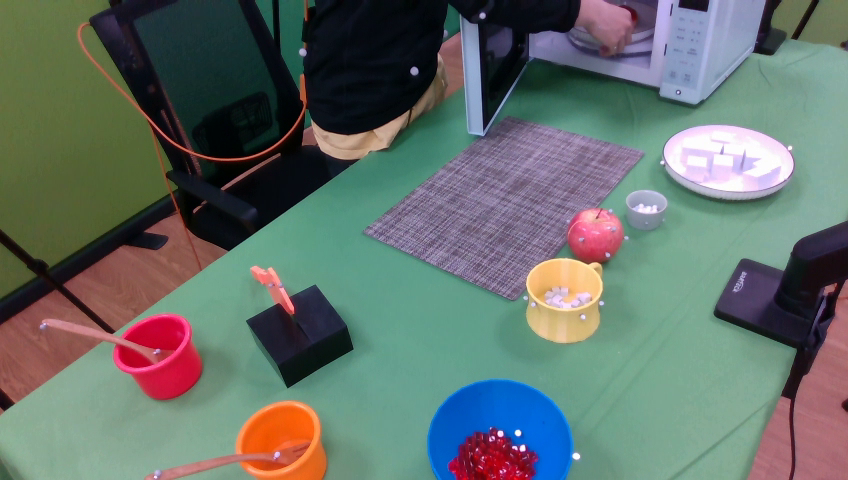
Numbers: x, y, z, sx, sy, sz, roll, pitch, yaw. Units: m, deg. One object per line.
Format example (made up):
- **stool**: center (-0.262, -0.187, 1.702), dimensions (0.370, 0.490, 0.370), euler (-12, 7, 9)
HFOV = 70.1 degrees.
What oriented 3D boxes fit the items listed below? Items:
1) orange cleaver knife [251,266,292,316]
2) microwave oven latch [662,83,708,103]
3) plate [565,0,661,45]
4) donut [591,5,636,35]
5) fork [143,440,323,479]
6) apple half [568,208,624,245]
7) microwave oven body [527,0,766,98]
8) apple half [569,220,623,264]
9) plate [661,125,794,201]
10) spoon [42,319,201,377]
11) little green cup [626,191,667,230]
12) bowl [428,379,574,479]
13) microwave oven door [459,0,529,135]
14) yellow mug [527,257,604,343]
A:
- **orange cleaver knife**: center (-0.221, 0.071, 0.873), dimensions (0.012, 0.077, 0.210), euler (-25, 11, -21)
- **microwave oven latch**: center (0.518, -0.296, 1.204), dimensions (0.078, 0.029, 0.030), euler (28, 52, 35)
- **plate**: center (0.426, -0.492, 1.373), dimensions (0.209, 0.038, 0.208), euler (-6, 40, 6)
- **donut**: center (0.427, -0.497, 1.364), dimensions (0.099, 0.048, 0.098), euler (-6, 40, 6)
- **fork**: center (-0.190, 0.231, 0.631), dimensions (0.028, 0.018, 0.209), euler (38, 14, 37)
- **apple half**: center (0.259, -0.014, 0.914), dimensions (0.080, 0.075, 0.053), euler (0, 36, 15)
- **microwave oven body**: center (0.472, -0.513, 1.317), dimensions (0.438, 0.261, 0.327), euler (25, 51, 34)
- **apple half**: center (0.251, 0.010, 0.884), dimensions (0.081, 0.081, 0.032), euler (3, 37, 12)
- **plate**: center (0.513, -0.128, 1.035), dimensions (0.207, 0.039, 0.206), euler (-4, 40, 4)
- **spoon**: center (-0.385, 0.135, 0.779), dimensions (0.195, 0.021, 0.041), euler (28, 36, -26)
- **little green cup**: center (0.352, -0.046, 0.963), dimensions (0.061, 0.039, 0.061), euler (-4, 40, 4)
- **bowl**: center (0.082, 0.233, 0.644), dimensions (0.151, 0.077, 0.150), euler (-4, 39, 4)
- **microwave oven door**: center (0.153, -0.410, 1.237), dimensions (0.039, 0.245, 0.356), euler (11, 44, 20)
- **yellow mug**: center (0.201, 0.072, 0.825), dimensions (0.131, 0.064, 0.099), euler (-32, 46, -27)
